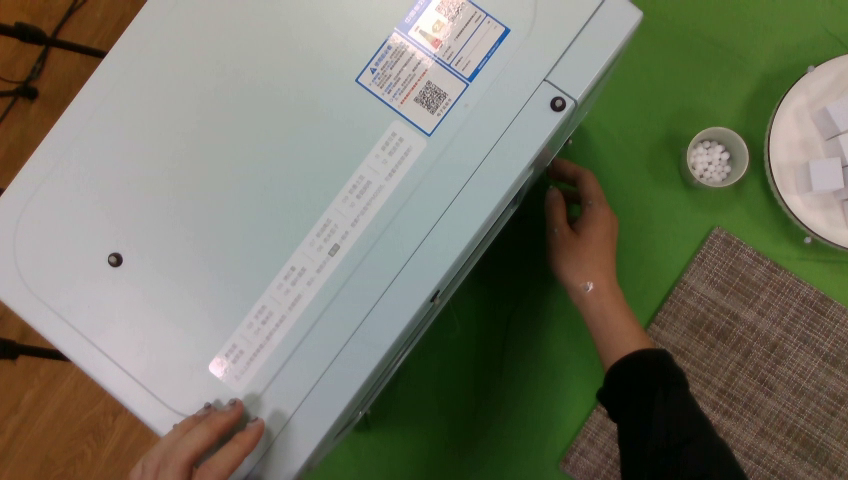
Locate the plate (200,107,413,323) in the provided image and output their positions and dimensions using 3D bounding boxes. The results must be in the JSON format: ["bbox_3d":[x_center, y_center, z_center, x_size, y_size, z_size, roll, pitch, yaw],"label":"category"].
[{"bbox_3d":[-0.113,-0.023,0.596,0.209,0.038,0.209,0,89,5],"label":"plate"}]

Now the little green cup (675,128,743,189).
[{"bbox_3d":[0.292,-0.082,0.629,0.061,0.039,0.061,0,87,5],"label":"little green cup"}]

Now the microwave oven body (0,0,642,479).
[{"bbox_3d":[-0.096,-0.072,0.547,0.325,0.261,0.441,37,90,6],"label":"microwave oven body"}]

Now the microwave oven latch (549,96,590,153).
[{"bbox_3d":[0.137,-0.119,0.627,0.030,0.029,0.079,41,91,6],"label":"microwave oven latch"}]

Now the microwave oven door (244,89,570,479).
[{"bbox_3d":[-0.007,0.049,0.526,0.039,0.244,0.355,37,90,7],"label":"microwave oven door"}]

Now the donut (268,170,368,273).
[{"bbox_3d":[-0.101,-0.018,0.582,0.099,0.048,0.099,0,91,6],"label":"donut"}]

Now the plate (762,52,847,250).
[{"bbox_3d":[0.449,-0.088,0.618,0.207,0.039,0.207,0,86,5],"label":"plate"}]
